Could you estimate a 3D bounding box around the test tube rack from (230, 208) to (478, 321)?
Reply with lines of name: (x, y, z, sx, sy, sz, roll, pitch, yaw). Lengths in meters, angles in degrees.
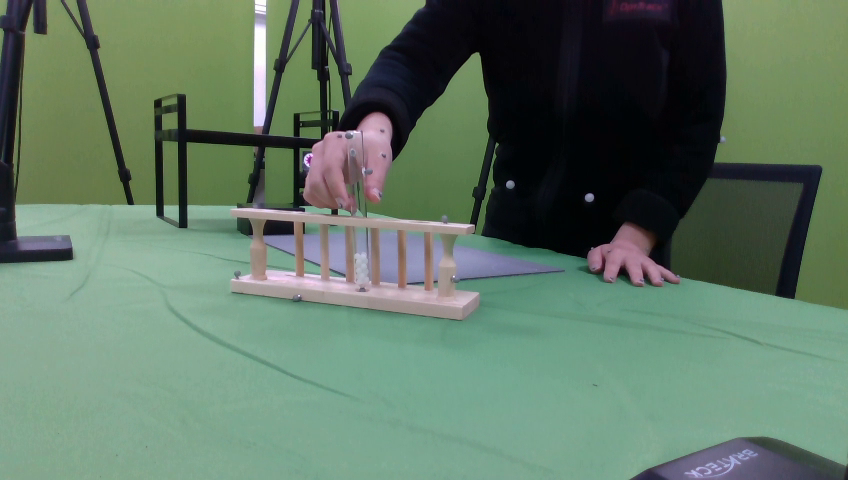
test tube rack: (-0.069, 0.018, 0.598, 0.242, 0.085, 0.067, 5, 7, 18)

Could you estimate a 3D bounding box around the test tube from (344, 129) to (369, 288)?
test tube: (-0.063, -0.028, 0.570, 0.017, 0.150, 0.017, -2, 10, 1)
